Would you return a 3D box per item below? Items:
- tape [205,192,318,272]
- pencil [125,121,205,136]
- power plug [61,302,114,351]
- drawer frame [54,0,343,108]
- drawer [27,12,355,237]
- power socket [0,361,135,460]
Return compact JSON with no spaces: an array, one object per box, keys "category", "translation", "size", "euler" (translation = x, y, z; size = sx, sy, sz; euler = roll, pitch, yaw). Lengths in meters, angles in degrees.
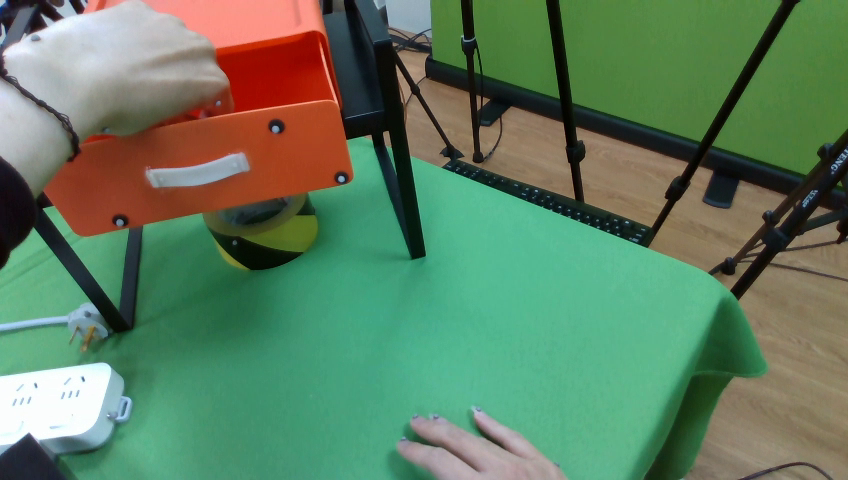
[{"category":"tape","translation":[-0.174,-0.026,0.658],"size":[0.117,0.053,0.115],"euler":[-3,47,3]},{"category":"pencil","translation":[-0.167,-0.087,0.462],"size":[0.193,0.012,0.012],"euler":[1,44,29]},{"category":"power plug","translation":[-0.332,0.091,0.591],"size":[0.072,0.035,0.052],"euler":[-33,32,29]},{"category":"drawer frame","translation":[-0.186,-0.176,0.532],"size":[0.202,0.083,0.211],"euler":[-14,45,-5]},{"category":"drawer","translation":[-0.166,-0.112,0.469],"size":[0.195,0.074,0.209],"euler":[-13,45,-4]},{"category":"power socket","translation":[-0.369,0.153,0.522],"size":[0.227,0.033,0.071],"euler":[-8,45,1]}]
